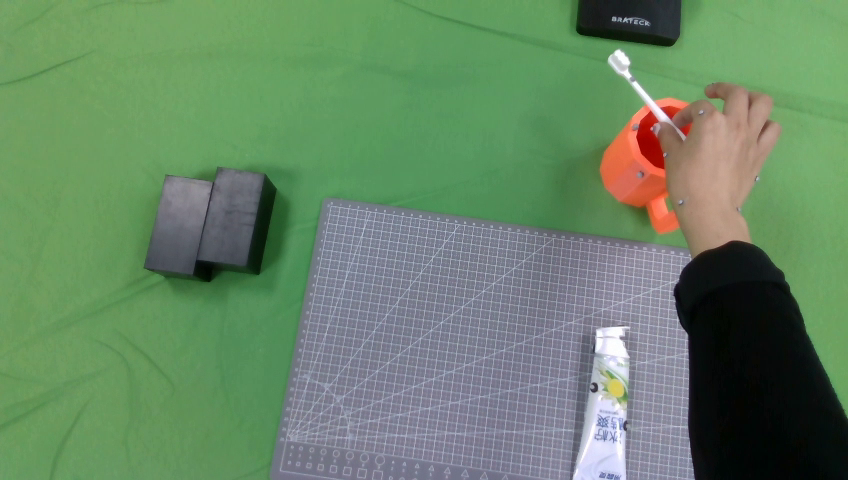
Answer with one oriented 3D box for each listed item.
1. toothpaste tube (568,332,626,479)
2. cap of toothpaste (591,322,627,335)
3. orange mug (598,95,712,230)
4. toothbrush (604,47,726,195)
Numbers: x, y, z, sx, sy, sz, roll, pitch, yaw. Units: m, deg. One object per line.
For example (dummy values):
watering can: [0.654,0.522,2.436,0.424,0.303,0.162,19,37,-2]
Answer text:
toothpaste tube: [0.182,0.173,0.621,0.055,0.034,0.164,6,82,8]
cap of toothpaste: [0.194,0.093,0.632,0.037,0.037,0.011,-4,75,-2]
orange mug: [0.246,-0.077,0.641,0.083,0.101,0.125,-13,74,-3]
toothbrush: [0.238,-0.118,0.596,0.014,0.017,0.181,-31,80,-22]
